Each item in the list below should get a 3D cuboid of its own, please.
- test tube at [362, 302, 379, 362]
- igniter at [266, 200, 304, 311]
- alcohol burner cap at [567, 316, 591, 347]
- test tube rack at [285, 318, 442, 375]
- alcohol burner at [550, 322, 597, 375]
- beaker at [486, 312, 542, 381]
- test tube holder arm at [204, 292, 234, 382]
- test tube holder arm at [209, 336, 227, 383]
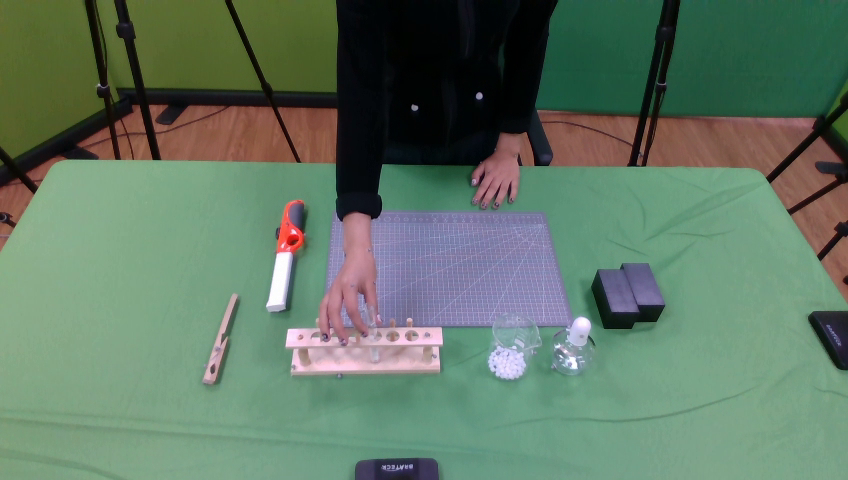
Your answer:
[{"bbox_3d":[-0.081,0.146,0.939,0.017,0.151,0.017,0,47,1],"label":"test tube"},{"bbox_3d":[-0.263,0.020,1.156,0.057,0.025,0.274,-6,46,4],"label":"igniter"},{"bbox_3d":[0.249,0.143,0.965,0.034,0.048,0.033,4,40,-3],"label":"alcohol burner cap"},{"bbox_3d":[-0.095,0.168,0.986,0.242,0.085,0.066,0,46,-4],"label":"test tube rack"},{"bbox_3d":[0.248,0.168,0.991,0.078,0.119,0.077,2,48,-2],"label":"alcohol burner"},{"bbox_3d":[0.144,0.177,0.985,0.084,0.101,0.074,22,49,16],"label":"beaker"},{"bbox_3d":[-0.343,0.159,1.020,0.013,0.015,0.177,27,39,-27],"label":"test tube holder arm"},{"bbox_3d":[-0.338,0.193,0.991,0.010,0.015,0.087,28,38,-26],"label":"test tube holder arm"}]
